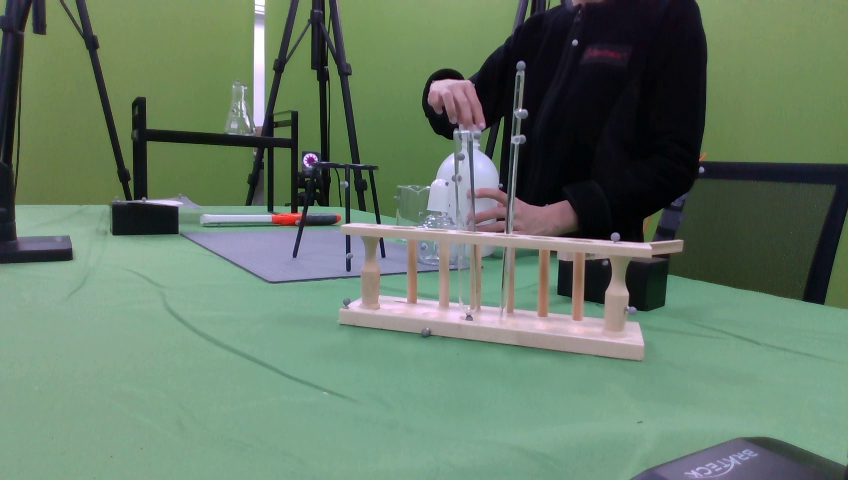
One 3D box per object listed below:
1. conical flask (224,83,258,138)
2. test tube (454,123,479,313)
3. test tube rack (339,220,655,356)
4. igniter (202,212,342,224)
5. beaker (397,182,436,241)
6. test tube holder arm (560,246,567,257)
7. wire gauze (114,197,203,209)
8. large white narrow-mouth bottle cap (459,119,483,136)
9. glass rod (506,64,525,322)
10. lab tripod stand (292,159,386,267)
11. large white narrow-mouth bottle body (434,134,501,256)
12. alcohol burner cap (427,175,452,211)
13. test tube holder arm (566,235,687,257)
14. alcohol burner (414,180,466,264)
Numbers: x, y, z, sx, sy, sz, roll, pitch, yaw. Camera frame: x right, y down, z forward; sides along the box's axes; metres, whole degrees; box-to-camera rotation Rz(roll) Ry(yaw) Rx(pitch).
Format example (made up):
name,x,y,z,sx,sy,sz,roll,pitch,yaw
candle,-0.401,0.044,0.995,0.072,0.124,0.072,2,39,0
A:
name,x,y,z,sx,sy,sz,roll,pitch,yaw
conical flask,-0.422,-0.299,1.395,0.075,0.122,0.075,2,7,0
test tube,0.034,-0.016,0.477,0.017,0.150,0.017,-2,9,1
test tube rack,0.056,0.032,0.495,0.242,0.085,0.067,4,7,15
igniter,-0.298,-0.044,1.216,0.278,0.025,0.057,-2,-2,-32
beaker,-0.012,-0.050,1.072,0.074,0.100,0.084,1,8,-4
test tube holder arm,0.173,0.007,0.611,0.088,0.015,0.010,-3,9,-30
wire gauze,-0.447,-0.062,1.015,0.126,0.011,0.121,-2,8,-31
large white narrow-mouth bottle cap,0.072,-0.171,0.923,0.038,0.024,0.037,2,8,0
glass rod,0.069,-0.030,0.458,0.008,0.199,0.008,0,15,0
lab tripod stand,-0.105,-0.039,0.798,0.148,0.131,0.148,2,5,0
large white narrow-mouth bottle body,0.069,-0.078,0.937,0.102,0.194,0.102,2,8,0
alcohol burner cap,0.023,-0.064,0.822,0.034,0.048,0.034,7,4,0
test tube holder arm,0.215,0.006,0.630,0.179,0.015,0.013,-3,9,-31
alcohol burner,0.021,-0.028,0.826,0.078,0.119,0.078,0,6,0
